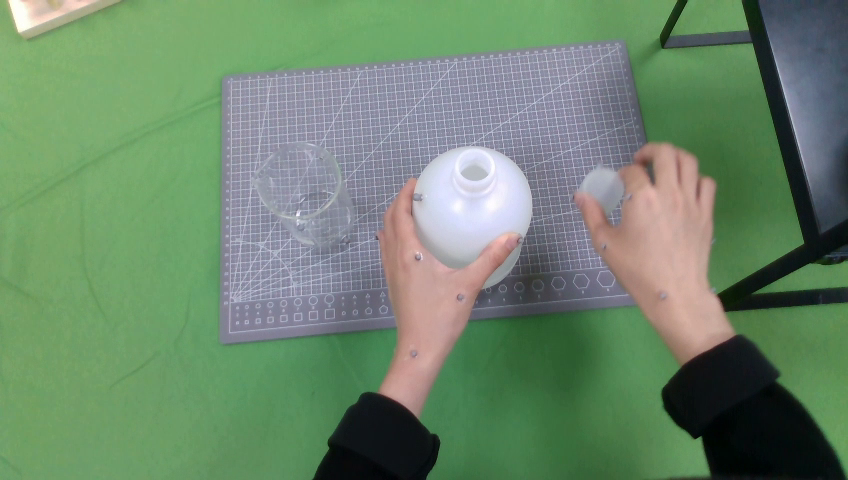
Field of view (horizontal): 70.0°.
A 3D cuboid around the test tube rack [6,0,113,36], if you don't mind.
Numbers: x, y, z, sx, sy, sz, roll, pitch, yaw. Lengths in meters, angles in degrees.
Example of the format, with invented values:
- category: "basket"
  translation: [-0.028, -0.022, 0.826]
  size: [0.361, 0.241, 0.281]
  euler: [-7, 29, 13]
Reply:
- category: "test tube rack"
  translation: [-0.371, -0.327, 0.682]
  size: [0.242, 0.085, 0.066]
  euler: [-26, 74, -6]

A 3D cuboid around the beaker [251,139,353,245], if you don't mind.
- category: "beaker"
  translation: [-0.111, -0.041, 0.579]
  size: [0.084, 0.101, 0.073]
  euler: [4, 72, 4]

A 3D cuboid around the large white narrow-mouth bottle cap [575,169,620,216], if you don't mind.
- category: "large white narrow-mouth bottle cap"
  translation: [0.149, -0.040, 0.521]
  size: [0.038, 0.024, 0.037]
  euler: [-1, 74, 3]

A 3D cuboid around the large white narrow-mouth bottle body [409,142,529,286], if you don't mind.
- category: "large white narrow-mouth bottle body"
  translation: [0.039, -0.027, 0.522]
  size: [0.102, 0.196, 0.101]
  euler: [-1, 73, 4]
